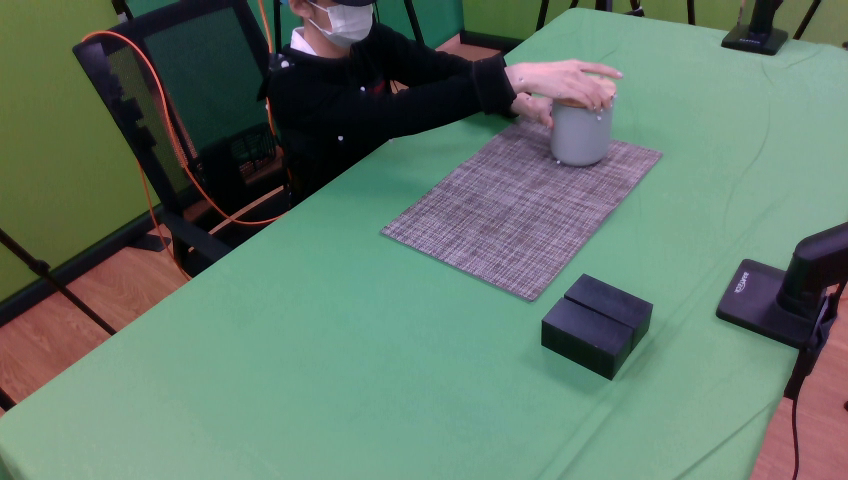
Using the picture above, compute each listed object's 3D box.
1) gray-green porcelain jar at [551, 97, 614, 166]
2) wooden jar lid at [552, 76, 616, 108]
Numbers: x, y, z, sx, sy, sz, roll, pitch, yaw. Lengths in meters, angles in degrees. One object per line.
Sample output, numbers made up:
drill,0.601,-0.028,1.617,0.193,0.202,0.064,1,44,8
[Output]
gray-green porcelain jar,0.282,-0.206,1.087,0.106,0.127,0.105,-4,40,4
wooden jar lid,0.275,-0.252,1.046,0.108,0.021,0.108,-4,38,4
